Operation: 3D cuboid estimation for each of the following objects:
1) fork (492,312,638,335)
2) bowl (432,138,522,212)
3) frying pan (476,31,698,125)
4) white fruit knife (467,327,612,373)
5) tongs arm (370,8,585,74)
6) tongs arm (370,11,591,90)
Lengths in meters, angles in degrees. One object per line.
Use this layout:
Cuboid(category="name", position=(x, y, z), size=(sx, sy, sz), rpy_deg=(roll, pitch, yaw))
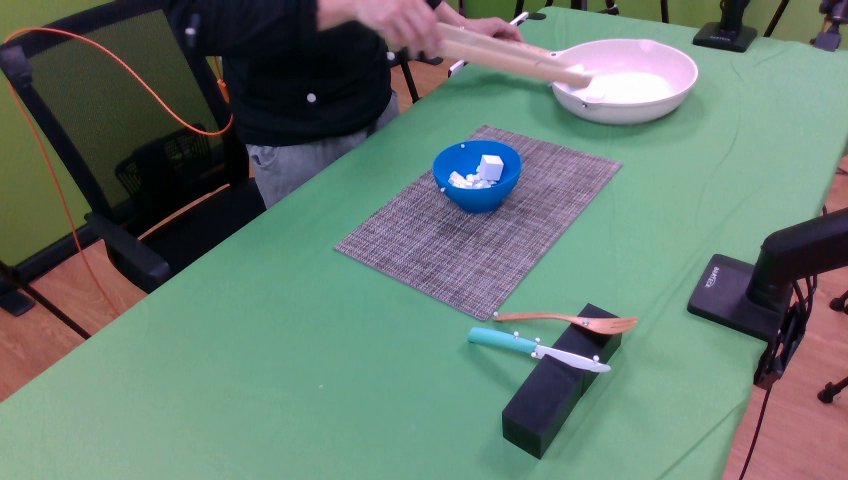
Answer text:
Cuboid(category="fork", position=(0.173, 0.103, 0.774), size=(0.206, 0.019, 0.028), rpy_deg=(0, 38, 40))
Cuboid(category="bowl", position=(0.091, -0.100, 1.021), size=(0.151, 0.077, 0.150), rpy_deg=(-4, 41, 4))
Cuboid(category="frying pan", position=(0.321, -0.371, 1.290), size=(0.484, 0.103, 0.307), rpy_deg=(29, 51, 24))
Cuboid(category="white fruit knife", position=(0.134, 0.134, 0.742), size=(0.205, 0.027, 0.016), rpy_deg=(7, 34, 41))
Cuboid(category="tongs arm", position=(0.099, -0.317, 0.988), size=(0.390, 0.028, 0.028), rpy_deg=(8, 50, -22))
Cuboid(category="tongs arm", position=(0.103, -0.300, 0.973), size=(0.388, 0.026, 0.050), rpy_deg=(4, 48, -25))
